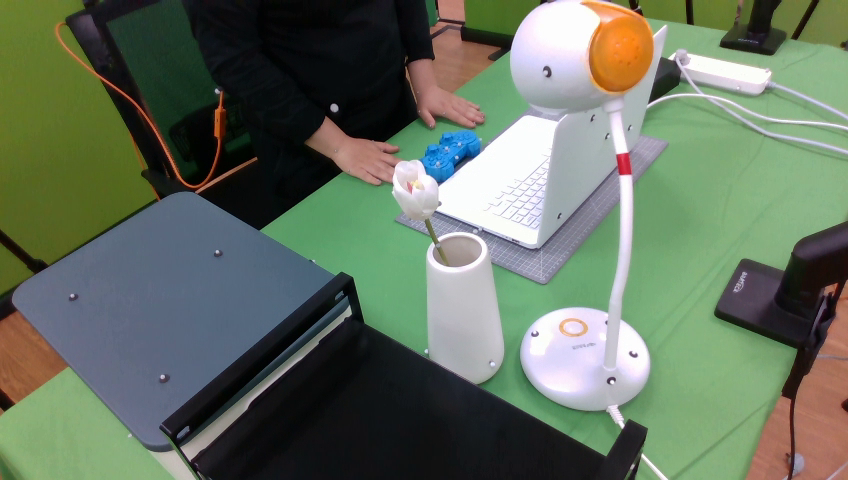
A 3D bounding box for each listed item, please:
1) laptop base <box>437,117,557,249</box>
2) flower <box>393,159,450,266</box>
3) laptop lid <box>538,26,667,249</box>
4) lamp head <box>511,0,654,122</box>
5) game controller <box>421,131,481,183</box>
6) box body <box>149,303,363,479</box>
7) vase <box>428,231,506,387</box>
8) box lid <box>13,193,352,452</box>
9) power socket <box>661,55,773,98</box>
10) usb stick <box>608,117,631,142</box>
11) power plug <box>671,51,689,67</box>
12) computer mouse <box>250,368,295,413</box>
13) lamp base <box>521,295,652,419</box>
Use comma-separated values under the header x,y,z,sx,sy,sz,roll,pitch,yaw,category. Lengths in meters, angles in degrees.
x,y,z,sx,sy,sz,roll,pitch,yaw,category
0.192,-0.117,1.087,0.233,0.023,0.355,21,48,34,laptop base
0.028,0.035,0.665,0.043,0.364,0.038,35,73,29,flower
0.281,-0.163,0.943,0.013,0.242,0.358,28,50,27,laptop lid
0.155,-0.168,0.564,0.113,0.113,0.122,-18,23,-12,lamp head
0.040,-0.162,1.144,0.096,0.052,0.155,22,49,29,game controller
-0.284,0.123,0.765,0.361,0.161,0.255,25,49,33,box body
0.050,0.087,0.728,0.098,0.201,0.097,-3,40,3,vase
-0.291,0.067,0.716,0.368,0.015,0.264,25,50,33,box lid
0.619,-0.353,1.289,0.225,0.033,0.072,26,51,33,power socket
0.369,-0.208,1.147,0.021,0.027,0.059,25,55,33,usb stick
0.540,-0.379,1.302,0.073,0.053,0.035,-31,46,-23,power plug
-0.196,0.182,0.772,0.063,0.041,0.116,-12,47,-11,computer mouse
0.200,0.095,0.710,0.161,0.181,0.177,-16,43,-10,lamp base
